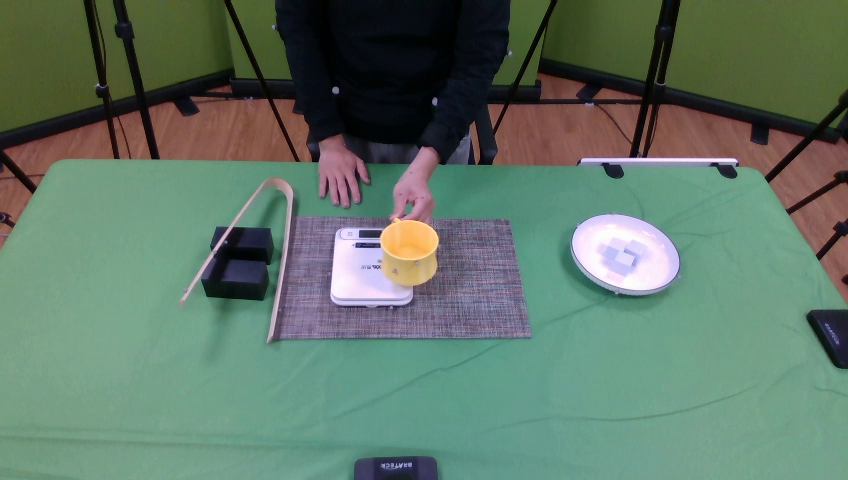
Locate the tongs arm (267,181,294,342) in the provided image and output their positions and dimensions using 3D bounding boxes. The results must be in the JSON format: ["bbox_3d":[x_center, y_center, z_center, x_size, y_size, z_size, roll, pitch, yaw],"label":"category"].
[{"bbox_3d":[-0.273,0.027,1.144,0.028,0.028,0.385,17,42,-21],"label":"tongs arm"}]

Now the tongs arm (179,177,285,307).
[{"bbox_3d":[-0.342,-0.008,1.117,0.051,0.026,0.382,29,38,-13],"label":"tongs arm"}]

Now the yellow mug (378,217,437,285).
[{"bbox_3d":[-0.034,0.010,1.059,0.100,0.064,0.130,-15,46,-17],"label":"yellow mug"}]

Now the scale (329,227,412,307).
[{"bbox_3d":[-0.099,0.042,1.139,0.149,0.032,0.199,1,46,-4],"label":"scale"}]

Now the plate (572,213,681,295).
[{"bbox_3d":[0.392,0.030,1.189,0.208,0.039,0.206,2,46,-2],"label":"plate"}]
